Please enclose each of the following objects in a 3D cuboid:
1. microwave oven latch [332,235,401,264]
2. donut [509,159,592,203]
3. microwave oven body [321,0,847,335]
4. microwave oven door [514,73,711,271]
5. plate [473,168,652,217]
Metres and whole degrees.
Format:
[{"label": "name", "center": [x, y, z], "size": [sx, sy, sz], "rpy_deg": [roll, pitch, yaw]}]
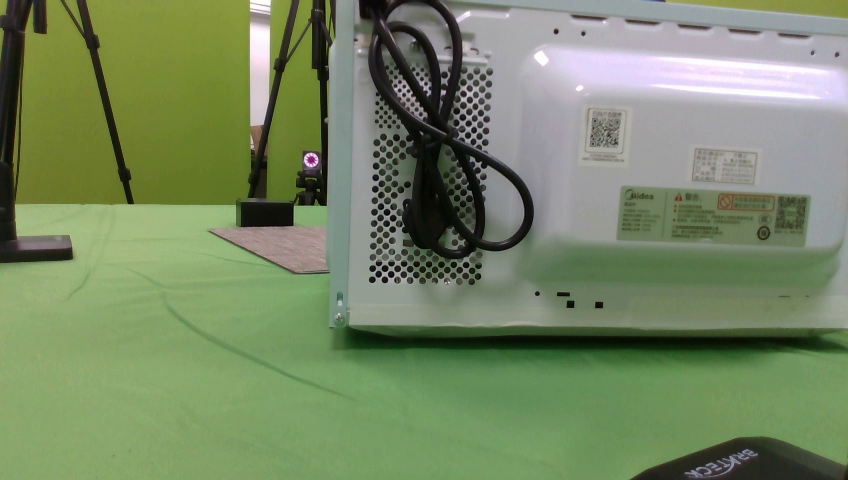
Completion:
[{"label": "microwave oven latch", "center": [-0.066, 0.010, 0.701], "size": [0.079, 0.029, 0.030], "rpy_deg": [2, 6, -8]}, {"label": "donut", "center": [0.150, -0.070, 0.719], "size": [0.099, 0.048, 0.099], "rpy_deg": [3, 14, 0]}, {"label": "microwave oven body", "center": [0.133, -0.062, 0.568], "size": [0.443, 0.260, 0.325], "rpy_deg": [2, 6, -8]}, {"label": "microwave oven door", "center": [0.252, -0.103, 0.890], "size": [0.039, 0.243, 0.354], "rpy_deg": [-2, 8, -26]}, {"label": "plate", "center": [0.162, -0.059, 0.727], "size": [0.209, 0.038, 0.209], "rpy_deg": [3, 11, 0]}]
